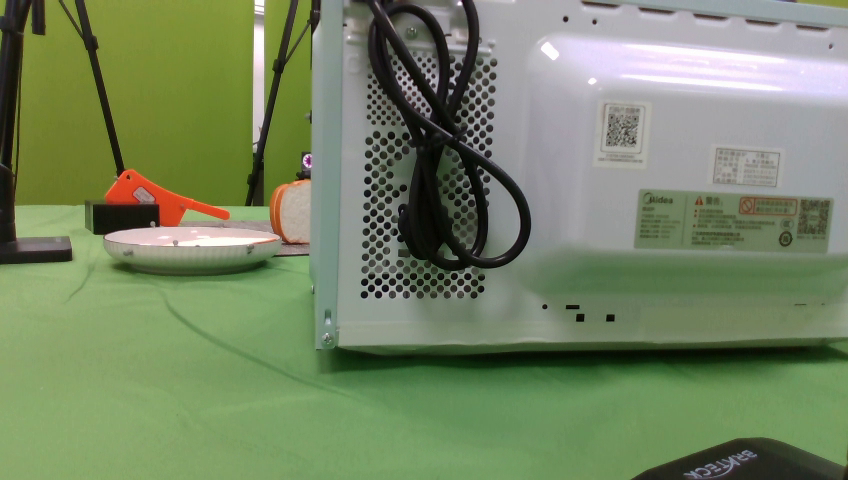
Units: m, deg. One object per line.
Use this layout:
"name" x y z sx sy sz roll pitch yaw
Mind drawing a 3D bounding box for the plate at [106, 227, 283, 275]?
"plate" -0.288 0.013 0.772 0.208 0.039 0.207 3 7 0

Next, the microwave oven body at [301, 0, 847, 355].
"microwave oven body" 0.120 -0.053 0.535 0.443 0.260 0.325 2 7 -11

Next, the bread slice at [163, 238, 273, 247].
"bread slice" -0.268 0.014 0.759 0.106 0.018 0.135 2 8 21

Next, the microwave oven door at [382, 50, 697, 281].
"microwave oven door" 0.135 -0.077 0.685 0.357 0.243 0.039 1 8 -12

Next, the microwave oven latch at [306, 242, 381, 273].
"microwave oven latch" -0.086 0.019 0.654 0.079 0.029 0.030 2 7 -8

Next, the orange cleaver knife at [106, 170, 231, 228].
"orange cleaver knife" -0.458 -0.060 1.096 0.212 0.077 0.012 23 -4 -38
